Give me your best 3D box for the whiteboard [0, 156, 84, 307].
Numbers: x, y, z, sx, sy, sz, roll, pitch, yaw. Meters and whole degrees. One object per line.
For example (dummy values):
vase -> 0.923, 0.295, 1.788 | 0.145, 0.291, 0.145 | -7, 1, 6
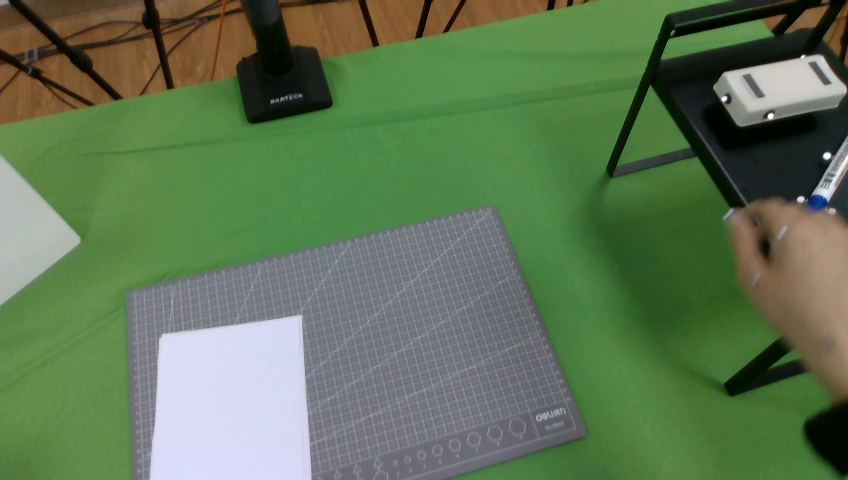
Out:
whiteboard -> -0.572, -0.052, 0.633 | 0.142, 0.309, 0.217 | 26, 61, 37

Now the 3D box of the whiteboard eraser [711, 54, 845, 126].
whiteboard eraser -> 0.345, -0.145, 0.595 | 0.113, 0.042, 0.055 | -13, 58, -8

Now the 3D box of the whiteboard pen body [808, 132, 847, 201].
whiteboard pen body -> 0.382, -0.066, 0.563 | 0.017, 0.017, 0.140 | 35, 65, 20

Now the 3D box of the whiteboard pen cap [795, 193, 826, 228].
whiteboard pen cap -> 0.344, -0.028, 0.539 | 0.018, 0.018, 0.033 | 33, 65, 19
